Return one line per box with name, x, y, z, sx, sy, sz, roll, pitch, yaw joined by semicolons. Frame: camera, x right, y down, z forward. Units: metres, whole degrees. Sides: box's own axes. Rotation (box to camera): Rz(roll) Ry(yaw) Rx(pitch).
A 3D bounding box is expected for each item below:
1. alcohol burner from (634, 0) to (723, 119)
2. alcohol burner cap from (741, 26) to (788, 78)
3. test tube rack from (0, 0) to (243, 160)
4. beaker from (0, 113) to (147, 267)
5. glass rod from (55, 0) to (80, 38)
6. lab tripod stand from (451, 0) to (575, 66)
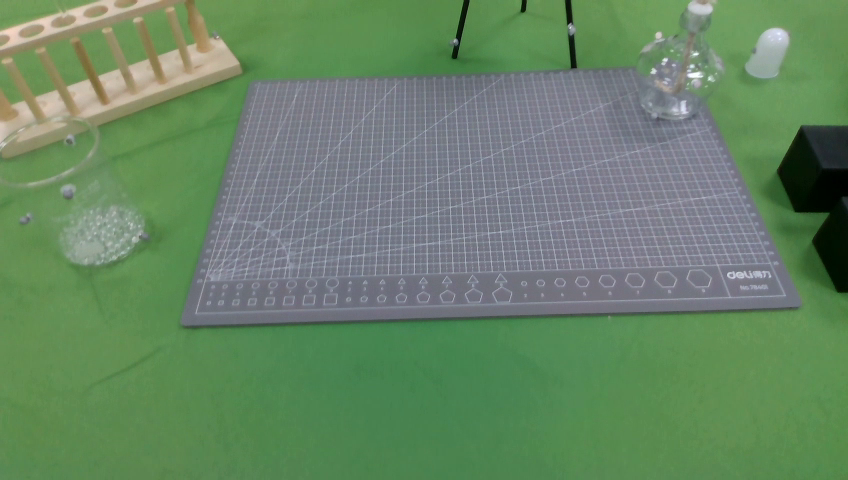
alcohol burner;0.231;-0.169;0.540;0.078;0.120;0.077;-1;52;1
alcohol burner cap;0.342;-0.190;0.604;0.034;0.048;0.033;-1;50;1
test tube rack;-0.313;-0.173;0.590;0.242;0.086;0.066;-26;54;-18
beaker;-0.266;-0.033;0.462;0.084;0.101;0.073;-24;53;-16
glass rod;-0.327;-0.215;0.539;0.008;0.201;0.008;2;52;-2
lab tripod stand;0.099;-0.257;0.611;0.148;0.132;0.147;0;50;0
